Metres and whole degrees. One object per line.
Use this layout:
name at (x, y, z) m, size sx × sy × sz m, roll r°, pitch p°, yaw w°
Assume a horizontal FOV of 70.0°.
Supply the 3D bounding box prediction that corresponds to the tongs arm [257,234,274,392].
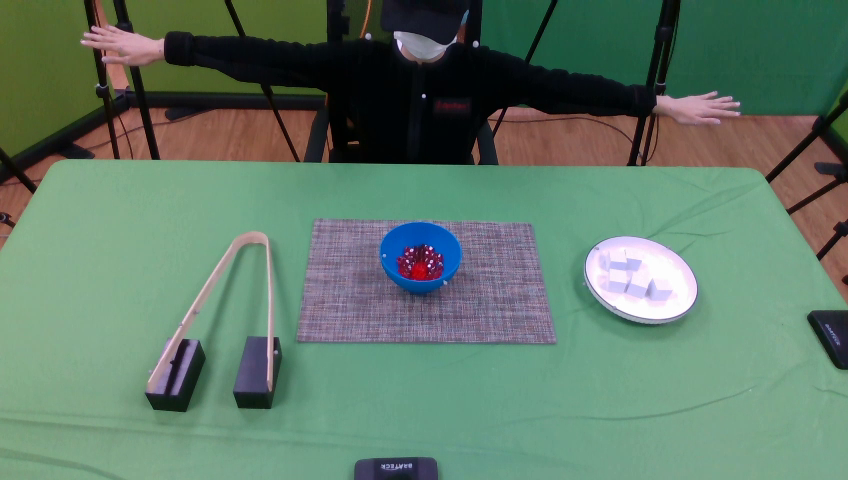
tongs arm at (-0.268, 0.104, 1.024) m, size 0.028 × 0.028 × 0.385 m, roll -9°, pitch 36°, yaw -9°

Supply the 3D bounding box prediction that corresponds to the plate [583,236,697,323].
plate at (0.403, 0.078, 1.144) m, size 0.209 × 0.038 × 0.208 m, roll 2°, pitch 45°, yaw -2°

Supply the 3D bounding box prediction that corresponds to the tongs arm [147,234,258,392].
tongs arm at (-0.358, 0.103, 1.018) m, size 0.051 × 0.026 × 0.382 m, roll 2°, pitch 34°, yaw 2°

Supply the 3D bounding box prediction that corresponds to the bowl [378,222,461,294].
bowl at (-0.010, 0.046, 1.110) m, size 0.151 × 0.077 × 0.150 m, roll 2°, pitch 46°, yaw -2°
